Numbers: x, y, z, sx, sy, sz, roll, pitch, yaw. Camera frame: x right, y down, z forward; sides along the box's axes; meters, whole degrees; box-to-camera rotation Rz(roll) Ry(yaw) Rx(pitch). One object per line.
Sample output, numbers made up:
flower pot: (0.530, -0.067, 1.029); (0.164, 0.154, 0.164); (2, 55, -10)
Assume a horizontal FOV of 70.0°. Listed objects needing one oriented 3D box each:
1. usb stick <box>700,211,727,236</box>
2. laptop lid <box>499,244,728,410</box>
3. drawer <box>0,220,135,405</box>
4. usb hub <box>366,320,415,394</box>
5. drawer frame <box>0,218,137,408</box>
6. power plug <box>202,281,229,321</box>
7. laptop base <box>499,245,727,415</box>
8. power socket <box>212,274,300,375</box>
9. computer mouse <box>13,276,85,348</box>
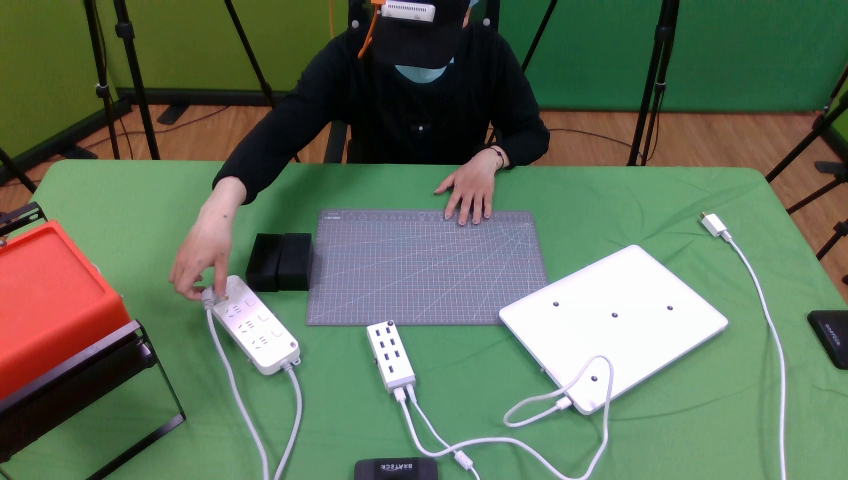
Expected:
usb stick: (0.605, -0.038, 1.273); (0.027, 0.021, 0.059); (-18, 56, -20)
laptop lid: (0.338, 0.136, 1.080); (0.357, 0.013, 0.240); (-21, 50, -23)
drawer: (-0.522, 0.093, 0.782); (0.193, 0.073, 0.211); (38, 55, 27)
usb hub: (-0.056, 0.192, 1.009); (0.049, 0.025, 0.124); (-12, 49, -16)
drawer frame: (-0.523, 0.094, 0.779); (0.200, 0.083, 0.213); (37, 55, 26)
power plug: (-0.353, 0.105, 1.022); (0.035, 0.053, 0.072); (-5, 71, 23)
laptop base: (0.339, 0.146, 1.088); (0.354, 0.023, 0.234); (-23, 49, -24)
power socket: (-0.297, 0.140, 1.035); (0.072, 0.033, 0.225); (-32, 57, -29)
computer mouse: (-0.497, 0.090, 0.804); (0.063, 0.041, 0.116); (-7, 42, -7)
